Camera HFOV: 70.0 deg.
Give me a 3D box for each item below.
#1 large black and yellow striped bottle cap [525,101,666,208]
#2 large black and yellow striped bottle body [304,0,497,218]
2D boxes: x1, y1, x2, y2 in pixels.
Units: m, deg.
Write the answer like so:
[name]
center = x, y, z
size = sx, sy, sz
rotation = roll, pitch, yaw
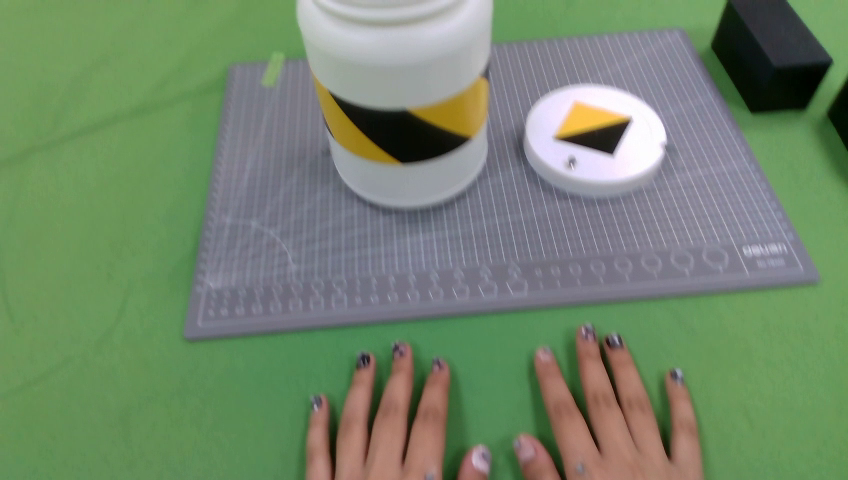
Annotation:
[large black and yellow striped bottle cap]
center = 0.143, -0.075, 0.509
size = 0.115, 0.019, 0.114
rotation = -1, 51, 2
[large black and yellow striped bottle body]
center = -0.014, -0.120, 0.444
size = 0.131, 0.185, 0.129
rotation = -1, 53, 2
